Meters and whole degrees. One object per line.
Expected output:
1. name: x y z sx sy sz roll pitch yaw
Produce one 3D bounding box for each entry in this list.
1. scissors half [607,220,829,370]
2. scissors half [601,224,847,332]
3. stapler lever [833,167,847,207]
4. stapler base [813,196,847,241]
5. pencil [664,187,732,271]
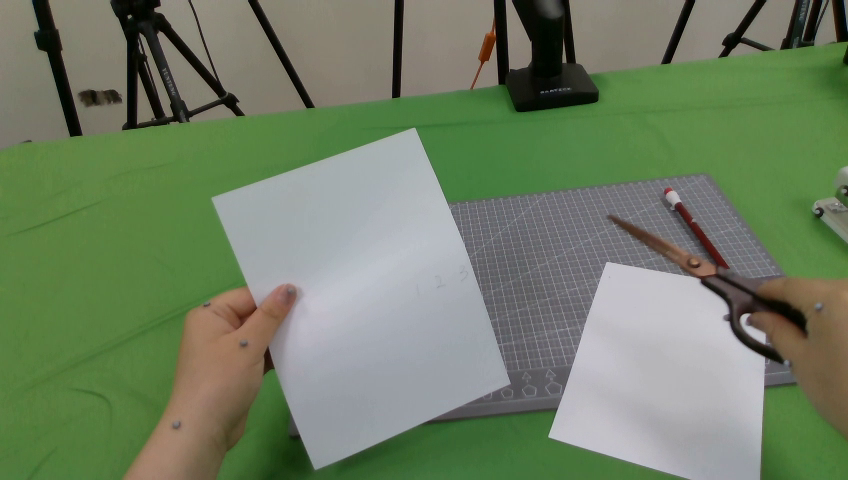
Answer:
1. scissors half: 0.197 0.031 0.430 0.040 0.013 0.173 -27 48 -22
2. scissors half: 0.213 0.021 0.440 0.174 0.013 0.040 22 45 23
3. stapler lever: 0.428 -0.027 0.564 0.027 0.040 0.117 -12 40 -1
4. stapler base: 0.430 -0.009 0.581 0.041 0.025 0.129 -11 40 -1
5. pencil: 0.279 0.005 0.595 0.012 0.012 0.192 -9 40 -1
